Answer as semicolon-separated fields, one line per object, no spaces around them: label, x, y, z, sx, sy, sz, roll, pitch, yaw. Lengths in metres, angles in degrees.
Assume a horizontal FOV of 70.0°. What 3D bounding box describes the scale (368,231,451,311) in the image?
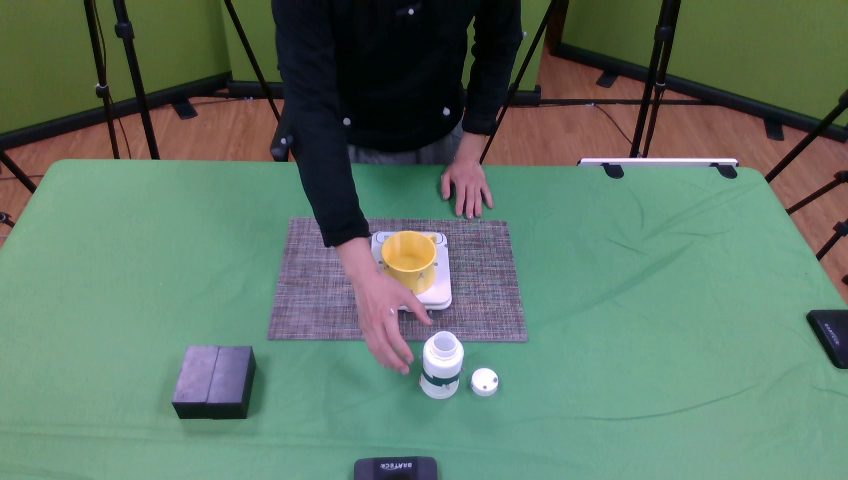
scale;-0.029;0.049;1.136;0.149;0.032;0.199;1;46;-4

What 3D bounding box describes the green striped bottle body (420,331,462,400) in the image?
green striped bottle body;0.026;0.193;0.948;0.063;0.120;0.063;2;45;-2

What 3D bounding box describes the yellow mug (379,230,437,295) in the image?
yellow mug;-0.020;0.031;1.089;0.099;0.064;0.130;31;51;24

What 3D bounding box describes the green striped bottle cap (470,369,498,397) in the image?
green striped bottle cap;0.098;0.232;0.988;0.044;0.020;0.044;2;41;-1
